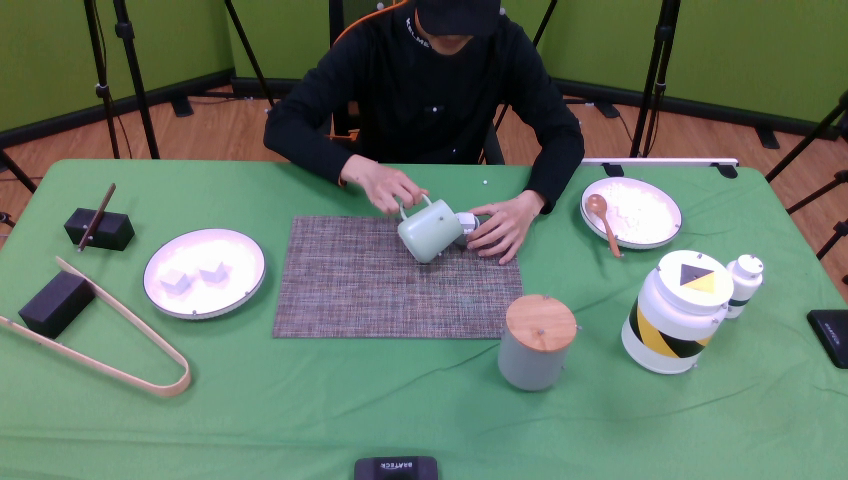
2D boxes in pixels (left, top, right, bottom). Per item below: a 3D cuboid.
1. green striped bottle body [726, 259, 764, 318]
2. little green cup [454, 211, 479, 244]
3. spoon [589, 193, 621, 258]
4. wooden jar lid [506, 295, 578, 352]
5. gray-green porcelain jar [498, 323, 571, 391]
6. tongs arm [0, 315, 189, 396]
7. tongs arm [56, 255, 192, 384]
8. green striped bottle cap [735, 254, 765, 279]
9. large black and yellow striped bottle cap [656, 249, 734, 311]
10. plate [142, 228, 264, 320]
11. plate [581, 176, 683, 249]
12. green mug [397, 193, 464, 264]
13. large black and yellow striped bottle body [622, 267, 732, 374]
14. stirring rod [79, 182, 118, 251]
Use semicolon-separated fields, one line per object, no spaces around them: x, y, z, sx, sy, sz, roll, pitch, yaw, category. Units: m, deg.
0.563;0.081;1.089;0.063;0.120;0.063;2;46;-2;green striped bottle body
0.078;-0.023;1.205;0.061;0.039;0.061;2;49;-2;little green cup
0.367;-0.032;1.220;0.041;0.022;0.192;1;38;-1;spoon
0.179;0.130;0.925;0.108;0.021;0.107;2;43;-2;wooden jar lid
0.176;0.172;0.971;0.106;0.127;0.105;2;46;-2;gray-green porcelain jar
-0.555;0.170;0.981;0.384;0.026;0.050;21;43;14;tongs arm
-0.517;0.126;1.033;0.386;0.028;0.028;30;43;23;tongs arm
0.566;0.046;1.051;0.044;0.020;0.044;0;45;0;green striped bottle cap
0.419;0.061;0.938;0.115;0.019;0.114;2;47;-2;large black and yellow striped bottle cap
-0.394;0.064;1.095;0.208;0.039;0.206;2;46;-2;plate
0.430;-0.054;1.267;0.209;0.038;0.208;2;46;-2;plate
0.001;-0.030;1.143;0.105;0.092;0.125;-37;86;-4;green mug
0.415;0.119;0.997;0.131;0.185;0.130;2;46;-2;large black and yellow striped bottle body
-0.605;-0.047;1.130;0.006;0.014;0.175;0;47;0;stirring rod
